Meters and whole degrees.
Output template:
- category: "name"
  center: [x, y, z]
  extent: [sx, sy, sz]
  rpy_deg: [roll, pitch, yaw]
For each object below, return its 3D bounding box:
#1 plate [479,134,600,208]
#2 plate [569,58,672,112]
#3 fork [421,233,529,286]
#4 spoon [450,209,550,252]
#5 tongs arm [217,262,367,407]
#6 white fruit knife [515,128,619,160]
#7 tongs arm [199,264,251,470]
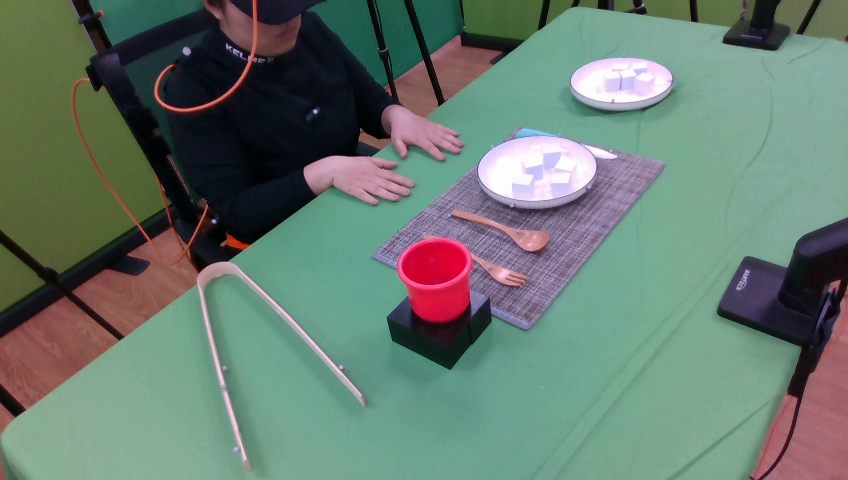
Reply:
- category: "plate"
  center: [0.202, -0.117, 1.065]
  extent: [0.207, 0.039, 0.206]
  rpy_deg: [-5, 40, 5]
- category: "plate"
  center: [0.411, -0.323, 1.274]
  extent: [0.209, 0.038, 0.208]
  rpy_deg: [-5, 41, 5]
- category: "fork"
  center: [0.072, 0.027, 0.933]
  extent: [0.205, 0.019, 0.028]
  rpy_deg: [27, 58, 33]
- category: "spoon"
  center: [0.119, -0.022, 0.979]
  extent: [0.192, 0.022, 0.041]
  rpy_deg: [24, 68, 33]
- category: "tongs arm"
  center: [-0.200, 0.122, 0.871]
  extent: [0.028, 0.028, 0.384]
  rpy_deg: [-36, 46, -24]
- category: "white fruit knife"
  center: [0.269, -0.182, 1.148]
  extent: [0.206, 0.016, 0.027]
  rpy_deg: [21, 77, 29]
- category: "tongs arm"
  center: [-0.270, 0.154, 0.841]
  extent: [0.051, 0.026, 0.381]
  rpy_deg: [-23, 41, -17]
